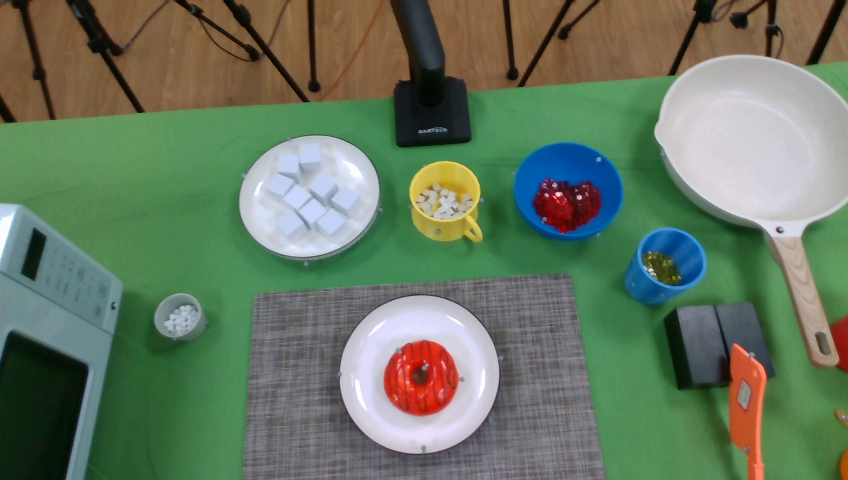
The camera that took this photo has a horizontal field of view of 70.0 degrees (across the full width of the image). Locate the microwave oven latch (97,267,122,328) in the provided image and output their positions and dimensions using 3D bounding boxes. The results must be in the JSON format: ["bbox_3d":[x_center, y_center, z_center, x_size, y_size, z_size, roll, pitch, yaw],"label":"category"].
[{"bbox_3d":[-0.434,0.078,0.823,0.030,0.030,0.078,1,67,1],"label":"microwave oven latch"}]

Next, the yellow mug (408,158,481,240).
[{"bbox_3d":[0.038,-0.050,0.873,0.100,0.064,0.130,-39,72,-14],"label":"yellow mug"}]

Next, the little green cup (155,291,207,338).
[{"bbox_3d":[-0.329,0.104,0.828,0.061,0.039,0.061,-1,67,2],"label":"little green cup"}]

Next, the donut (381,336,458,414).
[{"bbox_3d":[-0.006,0.173,0.776,0.099,0.048,0.098,-1,70,3],"label":"donut"}]

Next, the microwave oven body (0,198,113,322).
[{"bbox_3d":[-0.584,0.203,0.666,0.326,0.262,0.438,-1,67,1],"label":"microwave oven body"}]

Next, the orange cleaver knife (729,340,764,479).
[{"bbox_3d":[0.390,0.229,0.735,0.012,0.077,0.211,-4,95,0],"label":"orange cleaver knife"}]

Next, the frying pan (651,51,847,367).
[{"bbox_3d":[0.481,-0.059,0.846,0.307,0.103,0.483,1,58,3],"label":"frying pan"}]

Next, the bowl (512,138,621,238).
[{"bbox_3d":[0.197,-0.062,0.869,0.151,0.077,0.150,0,67,1],"label":"bowl"}]

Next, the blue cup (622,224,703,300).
[{"bbox_3d":[0.310,0.038,0.809,0.092,0.101,0.092,0,67,0],"label":"blue cup"}]

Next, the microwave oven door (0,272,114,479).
[{"bbox_3d":[-0.438,0.237,0.643,0.039,0.245,0.353,-1,66,1],"label":"microwave oven door"}]

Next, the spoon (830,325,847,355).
[{"bbox_3d":[0.610,0.116,0.745,0.193,0.022,0.041,-17,55,43],"label":"spoon"}]

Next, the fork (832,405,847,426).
[{"bbox_3d":[0.511,0.237,0.691,0.209,0.018,0.028,40,66,-29],"label":"fork"}]

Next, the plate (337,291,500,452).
[{"bbox_3d":[-0.007,0.169,0.789,0.209,0.038,0.207,0,67,1],"label":"plate"}]

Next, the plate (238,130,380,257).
[{"bbox_3d":[-0.167,-0.067,0.901,0.207,0.039,0.206,0,66,1],"label":"plate"}]
